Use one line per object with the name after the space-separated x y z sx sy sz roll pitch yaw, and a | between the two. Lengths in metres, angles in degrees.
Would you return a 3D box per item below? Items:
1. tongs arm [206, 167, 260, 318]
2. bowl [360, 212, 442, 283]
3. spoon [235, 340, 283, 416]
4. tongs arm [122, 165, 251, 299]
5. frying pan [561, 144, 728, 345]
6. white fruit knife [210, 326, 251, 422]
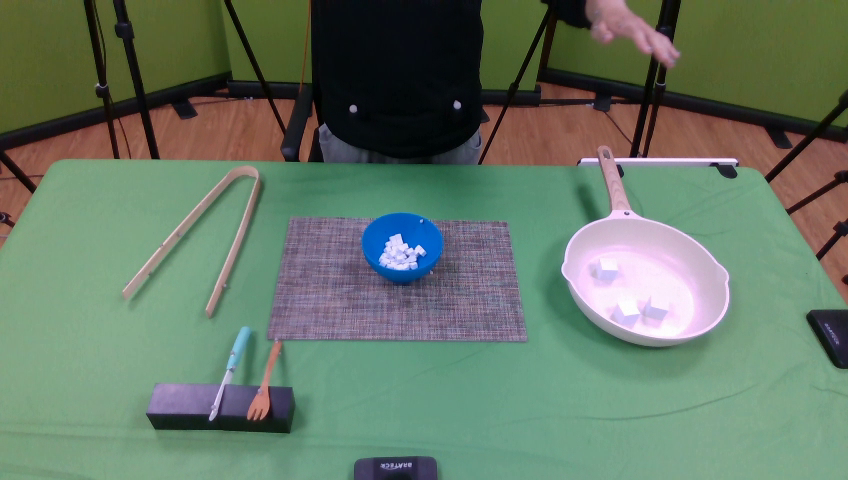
-0.367 -0.010 1.175 0.028 0.028 0.385 2 46 1 | tongs arm
-0.044 0.026 1.125 0.151 0.077 0.150 2 46 -2 | bowl
-0.244 0.207 0.932 0.042 0.022 0.193 28 25 -8 | spoon
-0.447 -0.027 1.179 0.051 0.026 0.383 14 46 8 | tongs arm
0.397 -0.008 1.179 0.307 0.103 0.485 2 55 -4 | frying pan
-0.300 0.201 0.941 0.016 0.027 0.206 -3 32 1 | white fruit knife
